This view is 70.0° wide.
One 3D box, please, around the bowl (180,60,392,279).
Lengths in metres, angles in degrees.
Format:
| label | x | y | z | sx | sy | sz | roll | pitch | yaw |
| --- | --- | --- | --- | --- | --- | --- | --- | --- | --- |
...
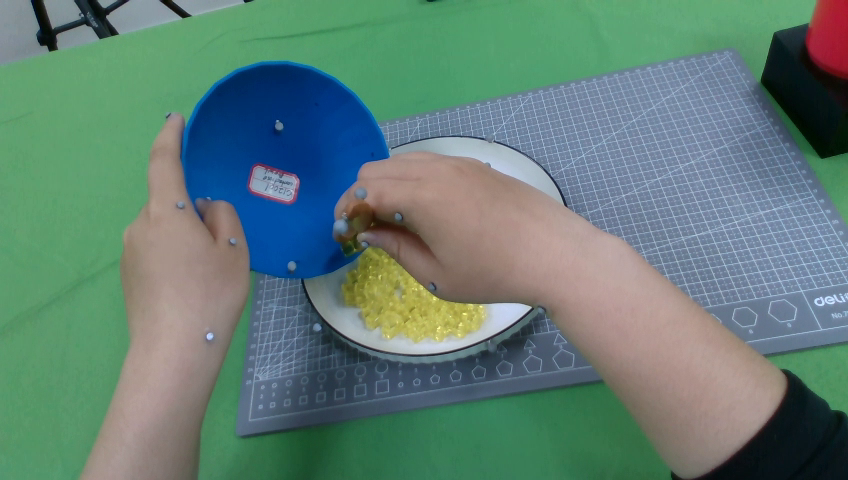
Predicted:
| label | x | y | z | sx | sy | sz | roll | pitch | yaw |
| --- | --- | --- | --- | --- | --- | --- | --- | --- | --- |
| bowl | -0.107 | -0.046 | 0.446 | 0.151 | 0.152 | 0.076 | -53 | 25 | -24 |

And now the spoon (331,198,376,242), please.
| label | x | y | z | sx | sy | sz | roll | pitch | yaw |
| --- | --- | --- | --- | --- | --- | --- | --- | --- | --- |
| spoon | -0.039 | -0.013 | 0.357 | 0.041 | 0.193 | 0.022 | -41 | 97 | -5 |

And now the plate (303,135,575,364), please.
| label | x | y | z | sx | sy | sz | roll | pitch | yaw |
| --- | --- | --- | --- | --- | --- | --- | --- | --- | --- |
| plate | 0.010 | 0.004 | 0.469 | 0.207 | 0.039 | 0.205 | -7 | 53 | 9 |
